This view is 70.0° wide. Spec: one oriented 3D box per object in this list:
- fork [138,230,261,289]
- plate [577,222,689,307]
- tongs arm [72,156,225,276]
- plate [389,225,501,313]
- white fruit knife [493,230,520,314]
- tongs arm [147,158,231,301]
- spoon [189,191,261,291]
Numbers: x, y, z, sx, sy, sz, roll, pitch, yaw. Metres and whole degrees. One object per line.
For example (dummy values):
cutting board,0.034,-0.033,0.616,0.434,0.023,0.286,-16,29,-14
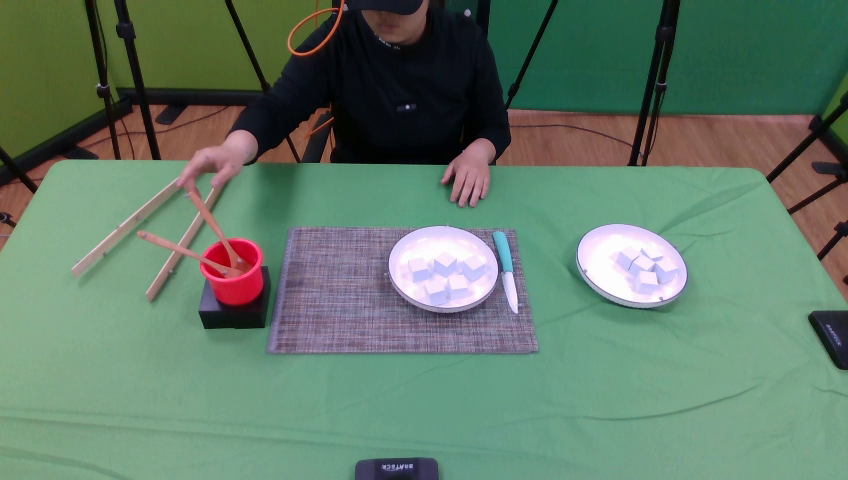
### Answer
fork,-0.360,0.032,0.981,0.208,0.018,0.028,31,60,-30
plate,0.396,0.050,1.165,0.209,0.038,0.208,2,47,-2
tongs arm,-0.531,-0.057,1.205,0.050,0.026,0.383,19,47,12
plate,0.038,0.057,1.129,0.208,0.039,0.206,2,46,-2
white fruit knife,0.160,0.057,1.154,0.027,0.016,0.206,-21,46,16
tongs arm,-0.454,-0.034,1.194,0.028,0.028,0.385,7,46,6
spoon,-0.333,0.001,1.012,0.041,0.194,0.021,-34,15,-25
